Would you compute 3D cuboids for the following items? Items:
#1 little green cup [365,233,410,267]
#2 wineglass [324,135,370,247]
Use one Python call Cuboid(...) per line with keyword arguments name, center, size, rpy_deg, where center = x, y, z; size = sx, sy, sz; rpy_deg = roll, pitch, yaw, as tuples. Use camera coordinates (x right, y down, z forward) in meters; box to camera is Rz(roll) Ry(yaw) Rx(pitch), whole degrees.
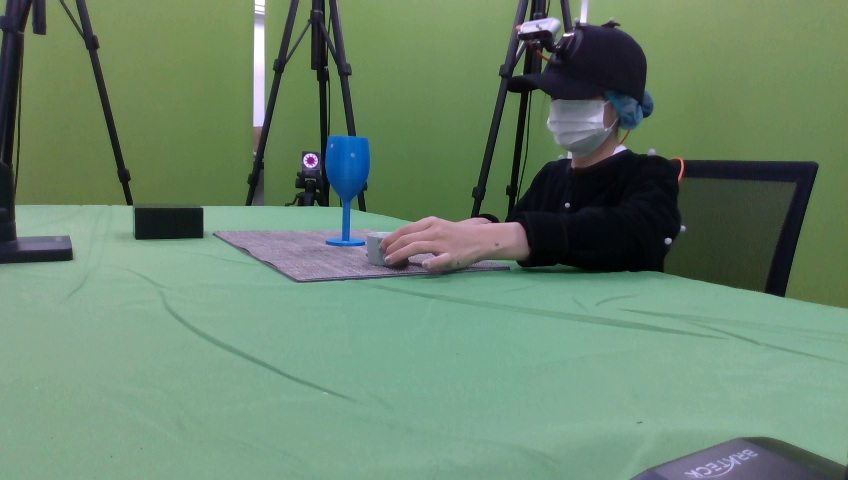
Cuboid(name="little green cup", center=(-0.048, 0.013, 0.803), size=(0.061, 0.038, 0.061), rpy_deg=(0, 9, 0))
Cuboid(name="wineglass", center=(-0.124, -0.079, 0.965), size=(0.074, 0.172, 0.073), rpy_deg=(3, 7, 0))
